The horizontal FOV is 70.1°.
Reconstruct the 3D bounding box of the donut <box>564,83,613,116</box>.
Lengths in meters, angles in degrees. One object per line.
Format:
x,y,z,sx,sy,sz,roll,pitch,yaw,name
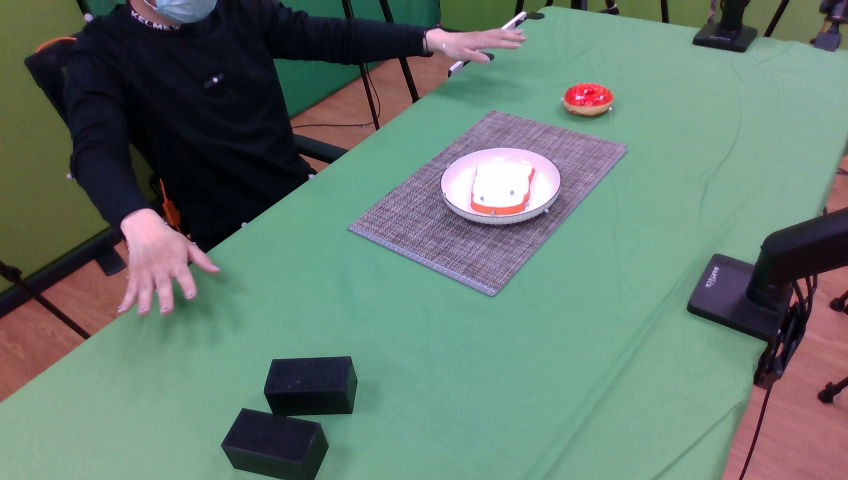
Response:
0.336,-0.288,1.239,0.099,0.048,0.098,-3,38,3,donut

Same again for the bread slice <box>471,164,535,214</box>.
0.134,-0.090,1.038,0.104,0.019,0.131,3,41,13,bread slice

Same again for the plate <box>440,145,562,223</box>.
0.131,-0.093,1.040,0.207,0.039,0.206,-4,41,4,plate
